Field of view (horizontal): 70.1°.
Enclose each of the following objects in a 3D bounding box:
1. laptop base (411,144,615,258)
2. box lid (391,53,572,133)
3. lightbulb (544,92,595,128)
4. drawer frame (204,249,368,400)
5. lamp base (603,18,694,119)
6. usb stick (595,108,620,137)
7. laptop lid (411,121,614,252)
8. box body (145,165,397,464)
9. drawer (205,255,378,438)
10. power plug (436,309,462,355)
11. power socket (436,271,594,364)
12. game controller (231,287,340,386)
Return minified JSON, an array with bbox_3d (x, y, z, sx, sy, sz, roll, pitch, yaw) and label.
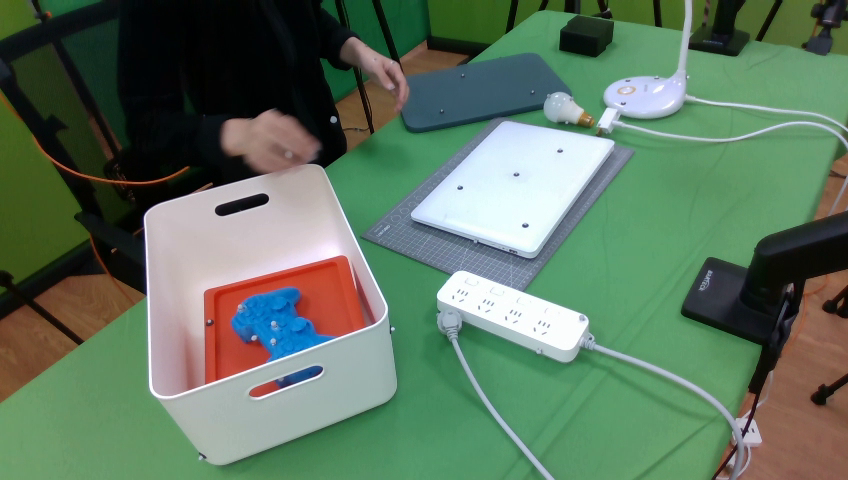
[{"bbox_3d":[0.167,-0.102,1.074,0.234,0.023,0.355,16,45,30],"label":"laptop base"},{"bbox_3d":[0.122,-0.339,1.366,0.372,0.015,0.261,-12,40,-5],"label":"box lid"},{"bbox_3d":[0.293,-0.256,1.215,0.107,0.059,0.059,30,51,16],"label":"lightbulb"},{"bbox_3d":[-0.174,0.129,0.791,0.202,0.083,0.212,-16,45,-8],"label":"drawer frame"},{"bbox_3d":[0.460,-0.355,1.205,0.179,0.181,0.160,2,41,7],"label":"lamp base"},{"bbox_3d":[0.355,-0.225,1.175,0.027,0.022,0.059,29,85,40],"label":"usb stick"},{"bbox_3d":[0.164,-0.112,1.068,0.240,0.013,0.357,19,46,30],"label":"laptop lid"},{"bbox_3d":[-0.205,0.080,0.802,0.255,0.161,0.361,-18,41,-13],"label":"box body"},{"bbox_3d":[-0.177,0.129,0.787,0.195,0.073,0.210,-15,39,-9],"label":"drawer"},{"bbox_3d":[0.032,0.126,0.809,0.035,0.053,0.072,3,59,6],"label":"power plug"},{"bbox_3d":[0.118,0.102,0.830,0.225,0.033,0.072,20,48,28],"label":"power socket"},{"bbox_3d":[-0.167,0.110,0.735,0.097,0.052,0.154,-34,47,-22],"label":"game controller"}]
